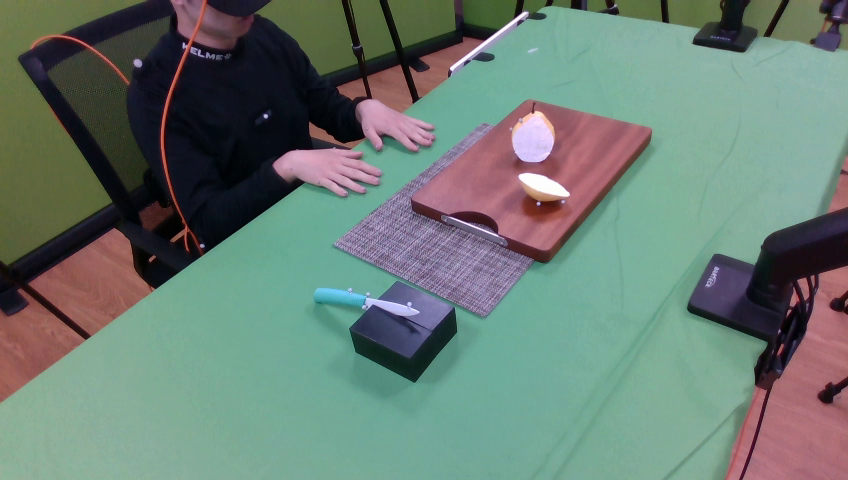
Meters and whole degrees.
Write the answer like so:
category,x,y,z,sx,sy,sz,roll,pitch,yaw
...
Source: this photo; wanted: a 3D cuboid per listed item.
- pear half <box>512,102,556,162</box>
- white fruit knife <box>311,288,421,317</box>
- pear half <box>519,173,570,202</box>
category,x,y,z,sx,sy,sz,roll,pitch,yaw
pear half,0.193,-0.197,1.060,0.076,0.110,0.056,3,41,6
white fruit knife,-0.084,0.086,0.831,0.206,0.027,0.016,5,30,38
pear half,0.193,-0.080,0.981,0.087,0.031,0.071,34,38,22
